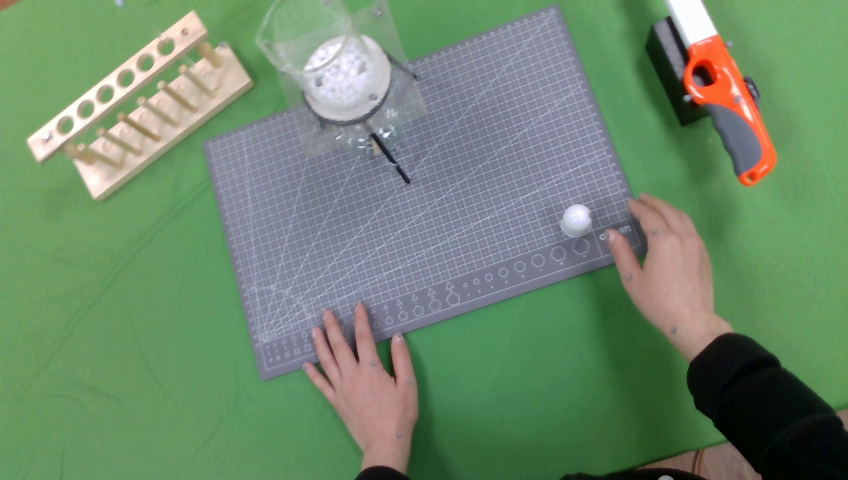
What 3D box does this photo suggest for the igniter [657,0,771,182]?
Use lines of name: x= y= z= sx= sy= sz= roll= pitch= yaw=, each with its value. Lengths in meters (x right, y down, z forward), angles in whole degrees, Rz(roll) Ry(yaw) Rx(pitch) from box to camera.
igniter: x=0.268 y=-0.186 z=0.591 sx=0.057 sy=0.025 sz=0.275 roll=-20 pitch=76 yaw=10

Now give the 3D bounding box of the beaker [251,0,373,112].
beaker: x=-0.092 y=-0.160 z=0.529 sx=0.084 sy=0.101 sz=0.073 roll=-6 pitch=81 yaw=10

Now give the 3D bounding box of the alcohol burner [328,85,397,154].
alcohol burner: x=-0.070 y=-0.135 z=0.649 sx=0.078 sy=0.120 sz=0.077 roll=-2 pitch=80 yaw=9

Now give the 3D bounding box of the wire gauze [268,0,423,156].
wire gauze: x=-0.078 y=-0.153 z=0.575 sx=0.125 sy=0.011 sz=0.121 roll=-20 pitch=82 yaw=5

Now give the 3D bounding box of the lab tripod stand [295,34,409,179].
lab tripod stand: x=-0.066 y=-0.142 z=0.639 sx=0.148 sy=0.132 sz=0.148 roll=-1 pitch=81 yaw=9

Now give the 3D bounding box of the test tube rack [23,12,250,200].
test tube rack: x=-0.336 y=-0.152 z=0.719 sx=0.242 sy=0.085 sz=0.066 roll=-36 pitch=76 yaw=3

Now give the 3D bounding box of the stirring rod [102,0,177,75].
stirring rod: x=-0.313 y=-0.229 z=0.647 sx=0.006 sy=0.177 sz=0.014 roll=-34 pitch=70 yaw=-2

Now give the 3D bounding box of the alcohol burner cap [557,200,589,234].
alcohol burner cap: x=0.155 y=-0.026 z=0.626 sx=0.034 sy=0.048 sz=0.033 roll=-2 pitch=81 yaw=11
